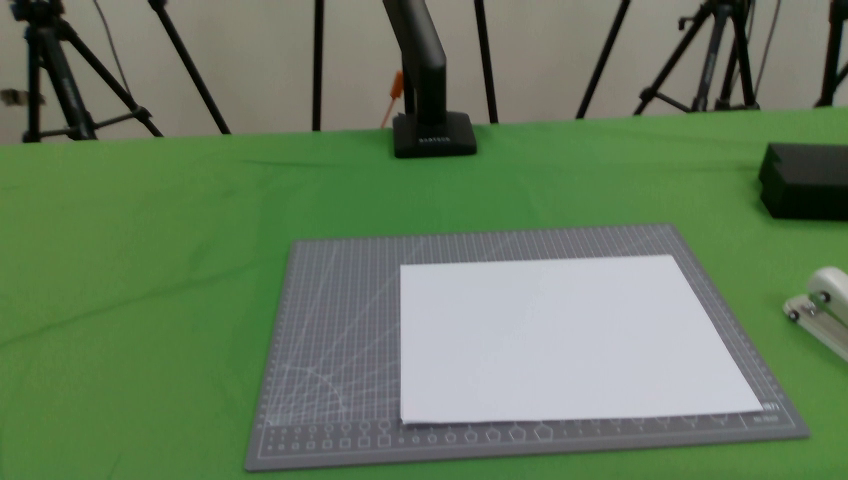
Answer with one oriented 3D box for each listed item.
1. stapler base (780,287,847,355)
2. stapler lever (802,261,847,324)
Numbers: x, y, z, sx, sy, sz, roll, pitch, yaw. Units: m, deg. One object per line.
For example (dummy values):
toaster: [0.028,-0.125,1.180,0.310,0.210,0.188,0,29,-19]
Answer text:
stapler base: [0.394,0.081,0.558,0.041,0.024,0.129,-17,41,-16]
stapler lever: [0.394,0.063,0.542,0.027,0.040,0.116,-17,40,-16]
